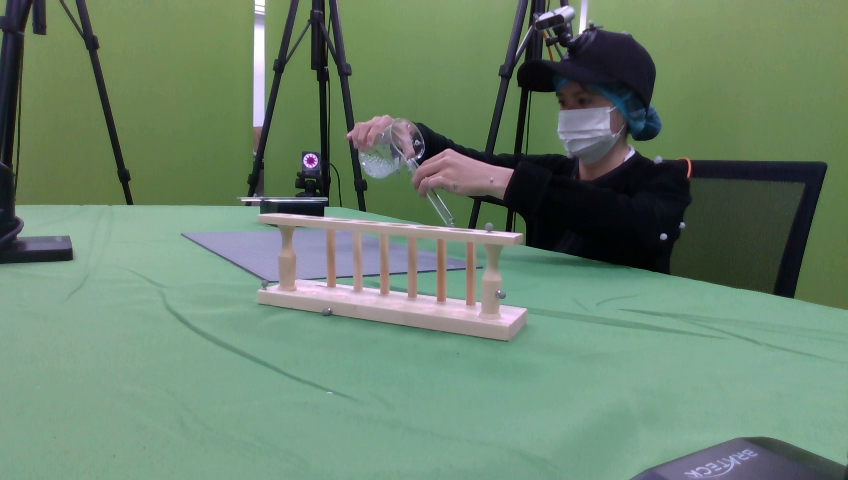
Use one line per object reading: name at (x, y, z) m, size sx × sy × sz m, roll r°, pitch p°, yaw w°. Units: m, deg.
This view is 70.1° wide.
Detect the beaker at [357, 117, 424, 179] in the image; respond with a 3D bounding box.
beaker at (-0.060, -0.151, 1.030) m, size 0.074 × 0.084 × 0.100 m, roll 4°, pitch -20°, yaw -42°

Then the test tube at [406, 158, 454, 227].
test tube at (0.009, -0.076, 0.949) m, size 0.017 × 0.017 × 0.149 m, roll -3°, pitch 47°, yaw -36°

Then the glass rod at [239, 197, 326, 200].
glass rod at (-0.288, -0.087, 1.250) m, size 0.201 × 0.008 × 0.008 m, roll -4°, pitch 10°, yaw -42°

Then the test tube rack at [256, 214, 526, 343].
test tube rack at (-0.032, 0.027, 0.547) m, size 0.241 × 0.085 × 0.067 m, roll 6°, pitch 7°, yaw 22°
